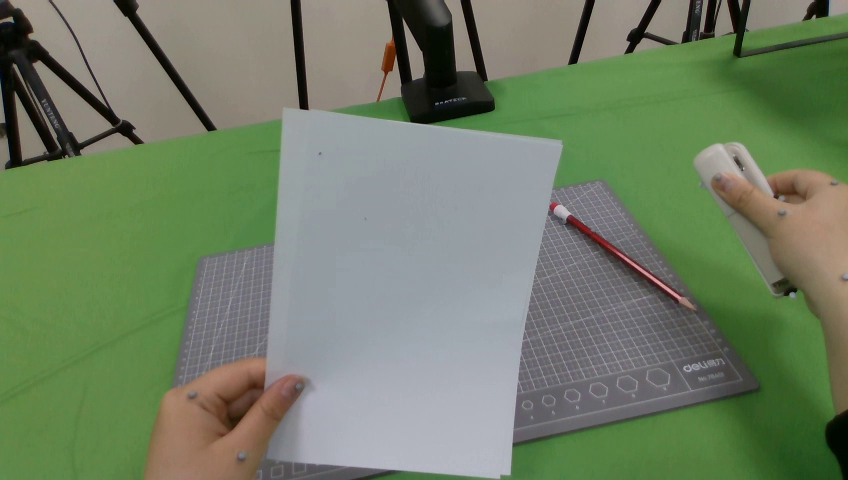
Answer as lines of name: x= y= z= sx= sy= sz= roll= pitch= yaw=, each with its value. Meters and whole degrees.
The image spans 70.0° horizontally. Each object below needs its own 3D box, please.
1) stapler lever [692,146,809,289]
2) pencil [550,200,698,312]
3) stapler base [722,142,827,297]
stapler lever: x=0.245 y=-0.020 z=0.461 sx=0.040 sy=0.027 sz=0.117 roll=4 pitch=57 yaw=-45
pencil: x=0.181 y=0.010 z=0.570 sx=0.012 sy=0.012 sz=0.192 roll=-23 pitch=41 yaw=-18
stapler base: x=0.260 y=-0.020 z=0.479 sx=0.024 sy=0.041 sz=0.129 roll=2 pitch=58 yaw=-46
